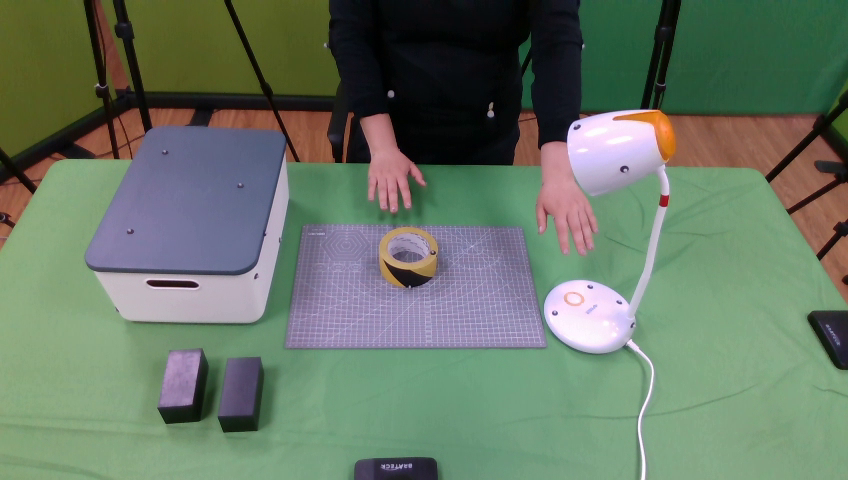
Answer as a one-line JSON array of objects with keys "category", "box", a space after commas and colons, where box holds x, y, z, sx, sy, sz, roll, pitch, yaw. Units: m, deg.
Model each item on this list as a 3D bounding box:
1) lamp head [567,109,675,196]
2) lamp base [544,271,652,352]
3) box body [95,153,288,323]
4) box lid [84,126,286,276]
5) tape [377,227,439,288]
[{"category": "lamp head", "box": [0.272, -0.123, 0.818, 0.122, 0.113, 0.112, -9, 35, 37]}, {"category": "lamp base", "box": [0.310, 0.086, 1.029, 0.178, 0.181, 0.160, 32, 52, 21]}, {"category": "box body", "box": [-0.396, -0.031, 1.100, 0.254, 0.161, 0.361, 1, 46, -3]}, {"category": "box lid", "box": [-0.393, -0.081, 1.046, 0.263, 0.015, 0.369, 2, 46, -3]}, {"category": "tape", "box": [-0.031, 0.032, 1.140, 0.117, 0.053, 0.116, 2, 46, -2]}]
